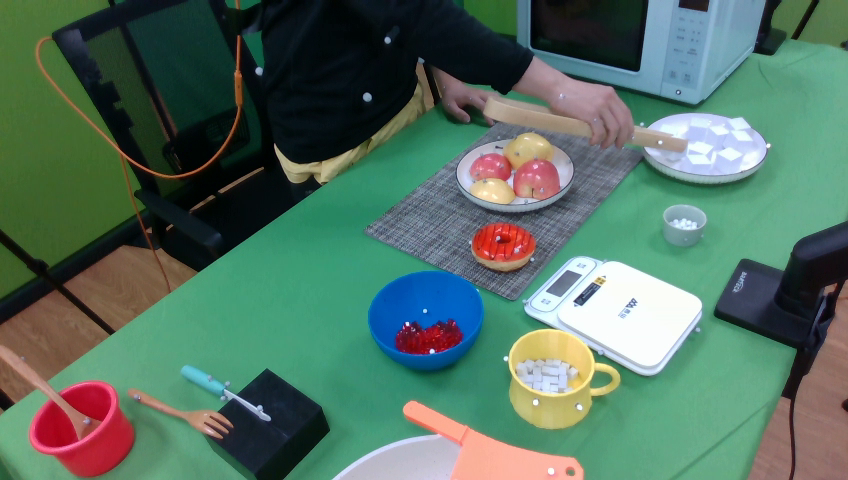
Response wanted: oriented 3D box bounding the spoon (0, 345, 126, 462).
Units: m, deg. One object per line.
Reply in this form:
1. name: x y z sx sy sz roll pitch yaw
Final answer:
1. spoon: -0.434 0.192 0.720 0.194 0.021 0.042 47 54 -7

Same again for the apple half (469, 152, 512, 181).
1. apple half: 0.120 -0.139 1.088 0.081 0.033 0.081 0 44 0

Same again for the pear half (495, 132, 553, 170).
1. pear half: 0.175 -0.168 1.094 0.109 0.056 0.076 15 54 29

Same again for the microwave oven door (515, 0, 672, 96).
1. microwave oven door: 0.344 -0.455 1.259 0.353 0.245 0.039 26 51 33

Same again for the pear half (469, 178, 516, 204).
1. pear half: 0.115 -0.090 1.035 0.087 0.031 0.071 27 38 31

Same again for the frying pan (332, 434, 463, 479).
1. frying pan: -0.089 0.306 0.564 0.487 0.103 0.306 10 41 7

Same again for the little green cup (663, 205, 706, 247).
1. little green cup: 0.396 -0.020 0.926 0.061 0.039 0.061 -4 40 4

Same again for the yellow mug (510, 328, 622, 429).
1. yellow mug: 0.169 0.164 0.721 0.130 0.064 0.099 0 40 8

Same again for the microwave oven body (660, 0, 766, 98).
1. microwave oven body: 0.472 -0.513 1.317 0.438 0.261 0.327 26 51 34

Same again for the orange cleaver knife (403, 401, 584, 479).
1. orange cleaver knife: 0.062 0.222 0.609 0.210 0.012 0.077 15 49 25

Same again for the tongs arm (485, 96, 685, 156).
1. tongs arm: 0.274 -0.178 0.973 0.390 0.028 0.028 6 30 -25

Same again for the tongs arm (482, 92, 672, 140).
1. tongs arm: 0.266 -0.189 0.992 0.387 0.026 0.050 8 26 -21

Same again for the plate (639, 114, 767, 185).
1. plate: 0.489 -0.157 1.074 0.207 0.039 0.206 -4 40 4

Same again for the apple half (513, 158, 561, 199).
1. apple half: 0.194 -0.111 1.031 0.080 0.053 0.075 12 41 26

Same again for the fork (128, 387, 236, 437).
1. fork: -0.305 0.207 0.744 0.206 0.019 0.028 3 41 36

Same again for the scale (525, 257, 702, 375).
1. scale: 0.254 0.091 0.821 0.199 0.032 0.149 28 51 35

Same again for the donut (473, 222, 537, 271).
1. donut: 0.123 0.009 0.923 0.099 0.048 0.098 -4 37 3

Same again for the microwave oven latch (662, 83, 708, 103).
1. microwave oven latch: 0.518 -0.296 1.204 0.078 0.029 0.030 28 52 35

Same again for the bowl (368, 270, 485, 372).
1. bowl: 0.007 0.118 0.791 0.151 0.077 0.150 -5 40 4

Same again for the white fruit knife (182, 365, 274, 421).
1. white fruit knife: -0.245 0.188 0.747 0.205 0.027 0.016 9 41 41

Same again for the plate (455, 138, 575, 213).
1. plate: 0.159 -0.111 1.063 0.209 0.038 0.208 -4 40 4
